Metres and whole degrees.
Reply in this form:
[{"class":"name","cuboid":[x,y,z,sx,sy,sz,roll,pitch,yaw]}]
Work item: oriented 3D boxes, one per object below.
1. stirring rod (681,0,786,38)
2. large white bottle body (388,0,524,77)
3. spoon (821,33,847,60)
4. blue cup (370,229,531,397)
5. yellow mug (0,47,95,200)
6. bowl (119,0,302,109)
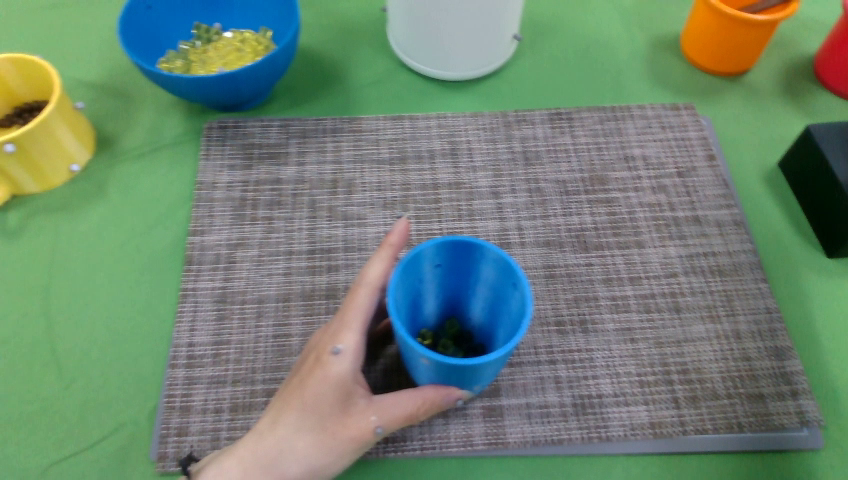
[{"class":"stirring rod","cuboid":[0.321,-0.219,0.547,0.175,0.006,0.014,-12,48,43]},{"class":"large white bottle body","cuboid":[0.030,-0.254,0.531,0.131,0.186,0.129,1,59,-1]},{"class":"spoon","cuboid":[0.448,-0.178,0.521,0.041,0.022,0.192,-44,25,-19]},{"class":"blue cup","cuboid":[0.019,0.056,0.390,0.092,0.101,0.092,0,57,0]},{"class":"yellow mug","cuboid":[-0.339,-0.086,0.490,0.100,0.064,0.130,8,60,3]},{"class":"bowl","cuboid":[-0.179,-0.172,0.539,0.151,0.077,0.150,1,59,-1]}]
